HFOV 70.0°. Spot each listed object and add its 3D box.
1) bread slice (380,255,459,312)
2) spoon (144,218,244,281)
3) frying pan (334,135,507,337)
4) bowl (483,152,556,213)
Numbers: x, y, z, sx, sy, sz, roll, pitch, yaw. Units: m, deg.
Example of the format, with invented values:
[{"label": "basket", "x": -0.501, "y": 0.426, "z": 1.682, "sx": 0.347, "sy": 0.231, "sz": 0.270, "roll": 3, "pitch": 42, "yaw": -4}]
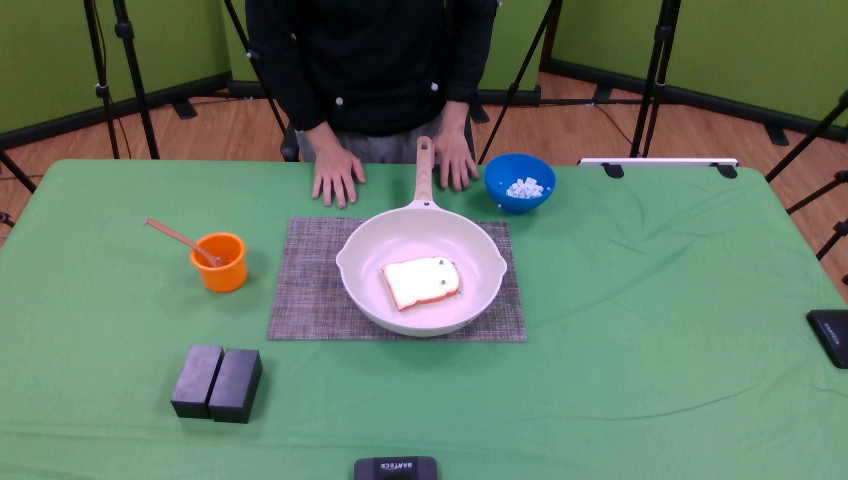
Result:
[{"label": "bread slice", "x": -0.005, "y": 0.074, "z": 1.119, "sx": 0.134, "sy": 0.018, "sz": 0.106, "roll": -16, "pitch": 50, "yaw": -16}, {"label": "spoon", "x": -0.401, "y": 0.015, "z": 1.064, "sx": 0.195, "sy": 0.021, "sz": 0.041, "roll": 41, "pitch": 37, "yaw": -29}, {"label": "frying pan", "x": -0.004, "y": -0.026, "z": 1.160, "sx": 0.307, "sy": 0.103, "sz": 0.485, "roll": 4, "pitch": 55, "yaw": -2}, {"label": "bowl", "x": 0.195, "y": -0.110, "z": 1.280, "sx": 0.151, "sy": 0.077, "sz": 0.150, "roll": 2, "pitch": 46, "yaw": -2}]
